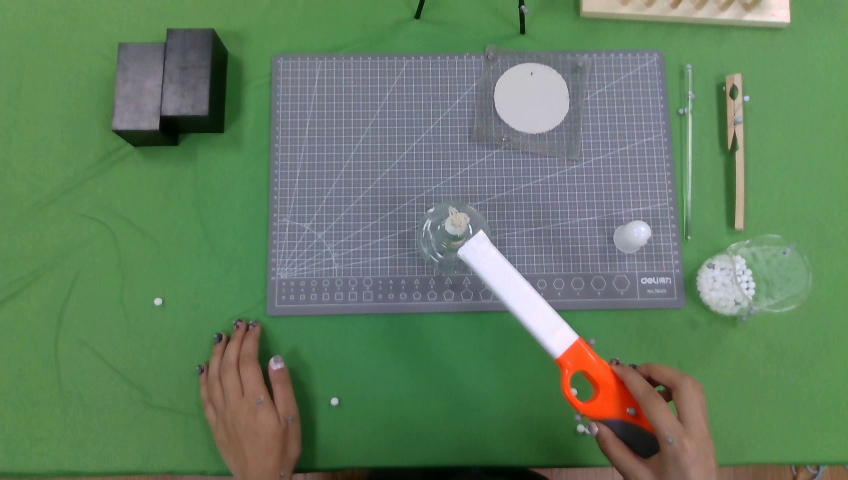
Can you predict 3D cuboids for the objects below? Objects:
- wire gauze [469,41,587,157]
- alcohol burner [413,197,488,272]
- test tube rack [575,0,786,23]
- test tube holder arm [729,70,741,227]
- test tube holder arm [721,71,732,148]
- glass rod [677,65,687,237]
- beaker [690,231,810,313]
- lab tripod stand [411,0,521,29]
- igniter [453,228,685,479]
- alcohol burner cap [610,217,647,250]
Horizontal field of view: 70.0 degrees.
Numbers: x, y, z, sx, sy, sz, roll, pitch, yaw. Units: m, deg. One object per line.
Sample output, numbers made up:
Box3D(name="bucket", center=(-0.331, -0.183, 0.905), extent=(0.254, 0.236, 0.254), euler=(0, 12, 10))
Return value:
Box3D(name="wire gauze", center=(0.119, -0.163, 0.688), extent=(0.125, 0.011, 0.121), euler=(10, 81, 0))
Box3D(name="alcohol burner", center=(0.027, -0.009, 0.608), extent=(0.078, 0.119, 0.077), euler=(0, 79, 1))
Box3D(name="test tube rack", center=(0.300, -0.300, 0.677), extent=(0.242, 0.085, 0.066), euler=(3, 80, 0))
Box3D(name="test tube holder arm", center=(0.347, -0.103, 0.678), extent=(0.013, 0.015, 0.178), euler=(-4, 80, 32))
Box3D(name="test tube holder arm", center=(0.344, -0.148, 0.687), extent=(0.010, 0.015, 0.087), euler=(-4, 80, 33))
Box3D(name="glass rod", center=(0.291, -0.102, 0.682), extent=(0.008, 0.008, 0.199), euler=(4, 83, 0))
Box3D(name="beaker", center=(0.321, 0.035, 0.615), extent=(0.084, 0.100, 0.074), euler=(31, 81, 6))
Box3D(name="lab tripod stand", center=(0.054, -0.300, 0.650), extent=(0.148, 0.132, 0.148), euler=(0, 82, 0))
Box3D(name="igniter", center=(0.128, 0.101, 0.529), extent=(0.057, 0.025, 0.276), euler=(-41, 86, -11))
Box3D(name="alcohol burner cap", center=(0.221, -0.010, 0.646), extent=(0.034, 0.048, 0.033), euler=(0, 80, 0))
